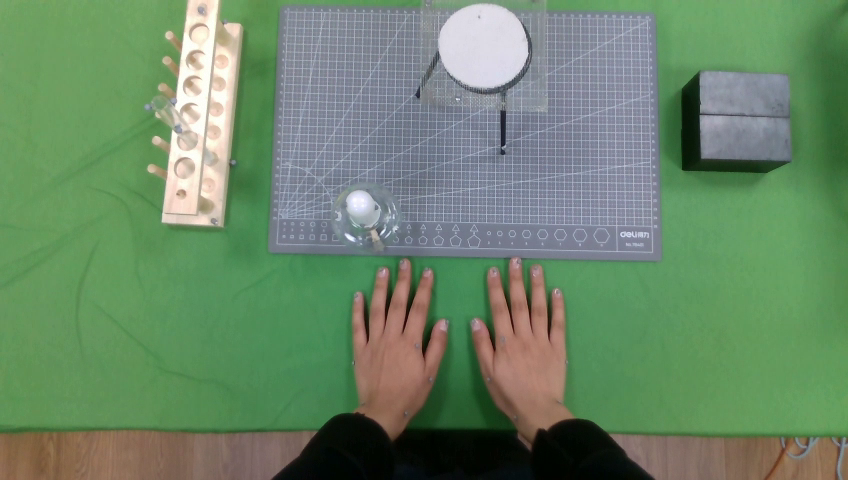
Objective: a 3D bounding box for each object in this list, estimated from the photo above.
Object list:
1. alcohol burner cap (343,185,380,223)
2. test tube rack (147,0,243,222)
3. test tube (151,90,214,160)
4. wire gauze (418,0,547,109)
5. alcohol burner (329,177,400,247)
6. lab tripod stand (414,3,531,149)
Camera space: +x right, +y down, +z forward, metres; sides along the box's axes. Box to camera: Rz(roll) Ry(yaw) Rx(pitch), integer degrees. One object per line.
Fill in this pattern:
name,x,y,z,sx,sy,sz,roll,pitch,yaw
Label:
alcohol burner cap,-0.064,-0.038,0.605,0.034,0.048,0.033,-1,79,5
test tube rack,-0.257,-0.147,0.671,0.067,0.085,0.241,4,83,1
test tube,-0.242,-0.113,0.617,0.017,0.150,0.017,1,78,-3
wire gauze,0.057,-0.188,0.583,0.125,0.011,0.121,2,83,0
alcohol burner,-0.064,-0.033,0.641,0.078,0.119,0.077,0,82,-1
lab tripod stand,0.061,-0.183,0.650,0.148,0.132,0.148,0,81,1
